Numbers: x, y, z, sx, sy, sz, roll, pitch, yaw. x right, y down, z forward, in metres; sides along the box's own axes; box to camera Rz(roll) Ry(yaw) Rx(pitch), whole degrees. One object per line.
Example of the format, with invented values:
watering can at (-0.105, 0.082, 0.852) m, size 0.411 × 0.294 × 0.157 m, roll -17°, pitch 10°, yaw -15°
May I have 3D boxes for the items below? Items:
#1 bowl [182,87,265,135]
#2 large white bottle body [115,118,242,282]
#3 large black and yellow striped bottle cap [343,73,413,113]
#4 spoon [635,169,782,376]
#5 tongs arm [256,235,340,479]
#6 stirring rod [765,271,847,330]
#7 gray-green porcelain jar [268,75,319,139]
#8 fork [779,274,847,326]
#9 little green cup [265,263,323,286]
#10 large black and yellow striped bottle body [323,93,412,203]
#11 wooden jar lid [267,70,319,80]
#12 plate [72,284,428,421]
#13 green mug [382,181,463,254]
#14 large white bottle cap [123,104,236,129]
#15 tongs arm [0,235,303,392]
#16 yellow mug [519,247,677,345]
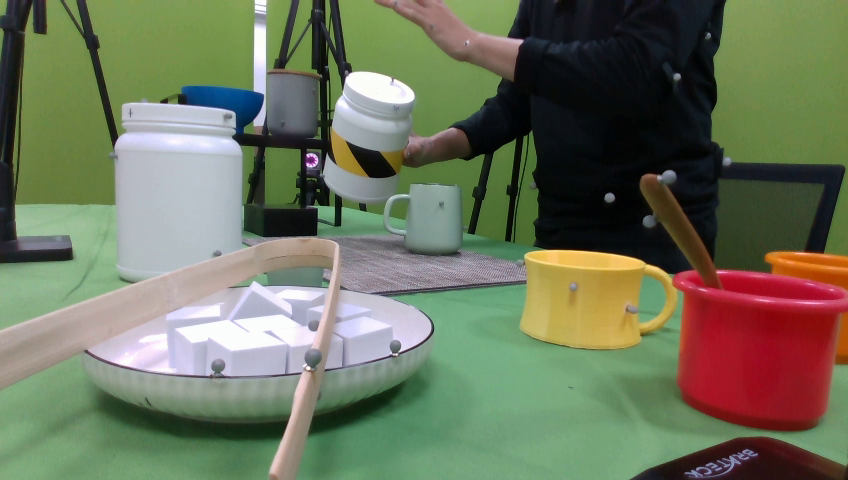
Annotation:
bowl at (-0.383, -0.244, 1.158) m, size 0.151 × 0.077 × 0.151 m, roll 2°, pitch 6°, yaw 0°
large white bottle body at (-0.270, -0.051, 0.673) m, size 0.131 × 0.184 × 0.130 m, roll 2°, pitch 8°, yaw 0°
large black and yellow striped bottle cap at (-0.073, -0.239, 0.979) m, size 0.115 × 0.019 × 0.115 m, roll 12°, pitch 34°, yaw -8°
spoon at (0.161, 0.026, 0.346) m, size 0.041 × 0.194 × 0.021 m, roll 10°, pitch 56°, yaw 53°
tongs arm at (-0.074, 0.040, 0.345) m, size 0.051 × 0.026 × 0.384 m, roll -1°, pitch 10°, yaw -3°
stirring rod at (0.352, 0.020, 0.481) m, size 0.176 × 0.006 × 0.014 m, roll -40°, pitch -8°, yaw 17°
gray-green porcelain jar at (-0.277, -0.279, 1.280) m, size 0.106 × 0.126 × 0.106 m, roll 2°, pitch 8°, yaw 0°
fork at (0.332, 0.019, 0.443) m, size 0.028 × 0.018 × 0.207 m, roll -3°, pitch -35°, yaw -16°
little green cup at (-0.134, 0.034, 0.628) m, size 0.061 × 0.038 × 0.061 m, roll 3°, pitch 6°, yaw 0°
large black and yellow striped bottle body at (-0.094, -0.170, 1.024) m, size 0.131 × 0.184 × 0.130 m, roll 12°, pitch 33°, yaw -8°
wooden jar lid at (-0.275, -0.339, 1.271) m, size 0.108 × 0.020 × 0.108 m, roll 5°, pitch 6°, yaw 0°
plate at (-0.102, 0.067, 0.381) m, size 0.208 × 0.039 × 0.207 m, roll 3°, pitch 7°, yaw 0°
green mug at (-0.001, -0.036, 0.922) m, size 0.126 × 0.105 × 0.092 m, roll 0°, pitch 8°, yaw -16°
large white bottle cap at (-0.266, -0.135, 0.663) m, size 0.115 × 0.018 × 0.115 m, roll 3°, pitch 7°, yaw 0°
tongs arm at (-0.157, 0.037, 0.347) m, size 0.028 × 0.028 × 0.388 m, roll -2°, pitch 8°, yaw 12°
yellow mug at (0.148, 0.045, 0.513) m, size 0.131 × 0.064 × 0.100 m, roll 3°, pitch 7°, yaw 0°
